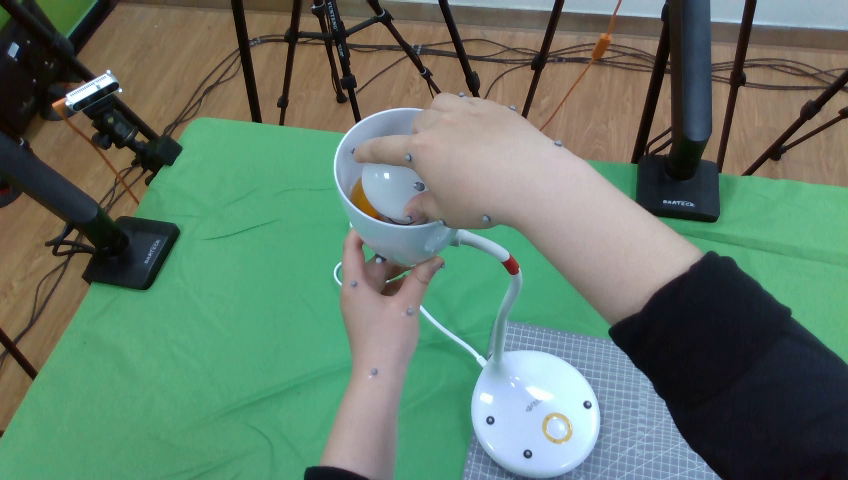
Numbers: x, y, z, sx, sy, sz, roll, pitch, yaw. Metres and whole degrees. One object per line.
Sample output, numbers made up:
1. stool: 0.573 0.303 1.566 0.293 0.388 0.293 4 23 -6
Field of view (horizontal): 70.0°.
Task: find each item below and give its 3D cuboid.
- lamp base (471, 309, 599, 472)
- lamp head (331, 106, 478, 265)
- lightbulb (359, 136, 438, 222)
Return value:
1. lamp base: 0.122 0.161 0.707 0.177 0.182 0.160 32 65 28
2. lamp head: -0.011 -0.031 0.502 0.112 0.124 0.111 -2 60 3
3. lightbulb: -0.020 -0.038 0.476 0.059 0.108 0.059 1 67 -1
